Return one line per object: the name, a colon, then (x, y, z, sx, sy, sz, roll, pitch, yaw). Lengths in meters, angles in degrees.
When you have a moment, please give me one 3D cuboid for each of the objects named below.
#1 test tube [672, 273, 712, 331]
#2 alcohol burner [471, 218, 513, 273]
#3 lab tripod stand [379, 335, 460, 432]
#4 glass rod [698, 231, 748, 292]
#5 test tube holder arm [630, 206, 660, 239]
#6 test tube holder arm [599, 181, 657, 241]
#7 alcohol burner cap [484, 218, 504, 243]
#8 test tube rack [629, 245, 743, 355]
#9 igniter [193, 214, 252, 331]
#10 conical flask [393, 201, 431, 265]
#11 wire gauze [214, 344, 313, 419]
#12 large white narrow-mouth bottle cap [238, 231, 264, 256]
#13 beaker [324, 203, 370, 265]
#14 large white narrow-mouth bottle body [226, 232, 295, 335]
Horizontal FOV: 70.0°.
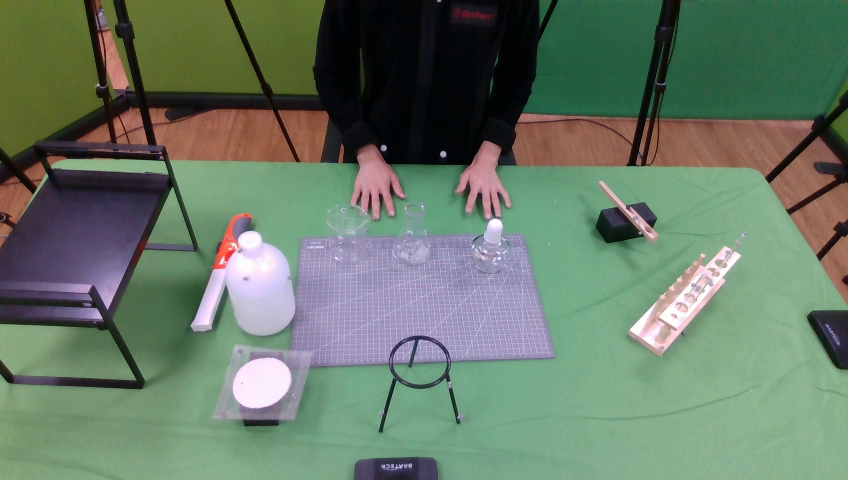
test tube: (0.439, 0.106, 1.009, 0.017, 0.151, 0.017, 4, 48, -4)
alcohol burner: (0.128, 0.005, 1.132, 0.078, 0.120, 0.077, 0, 47, 0)
lab tripod stand: (-0.011, 0.214, 0.911, 0.148, 0.132, 0.147, 1, 45, 0)
glass rod: (0.513, 0.044, 1.051, 0.008, 0.200, 0.008, 1, 55, -1)
test tube holder arm: (0.431, -0.034, 1.192, 0.010, 0.015, 0.087, -23, 51, -13)
test tube holder arm: (0.407, -0.062, 1.219, 0.013, 0.015, 0.177, -23, 51, -13)
alcohol burner cap: (0.130, -0.021, 1.106, 0.034, 0.048, 0.033, 3, 51, -4)
test tube rack: (0.474, 0.095, 1.091, 0.242, 0.085, 0.066, -34, 56, -31)
igniter: (-0.368, 0.050, 1.119, 0.057, 0.025, 0.275, -3, 46, 8)
conical flask: (-0.021, -0.017, 1.137, 0.075, 0.122, 0.075, 2, 46, -2)
wire gauze: (-0.241, 0.213, 0.915, 0.121, 0.011, 0.124, 5, 46, 1)
large white narrow-mouth bottle cap: (-0.266, 0.006, 0.932, 0.038, 0.024, 0.037, 2, 46, -2)
beaker: (-0.142, -0.009, 1.137, 0.084, 0.101, 0.073, -3, 47, -7)
large white narrow-mouth bottle body: (-0.270, 0.065, 0.995, 0.102, 0.195, 0.101, 2, 46, -2)
